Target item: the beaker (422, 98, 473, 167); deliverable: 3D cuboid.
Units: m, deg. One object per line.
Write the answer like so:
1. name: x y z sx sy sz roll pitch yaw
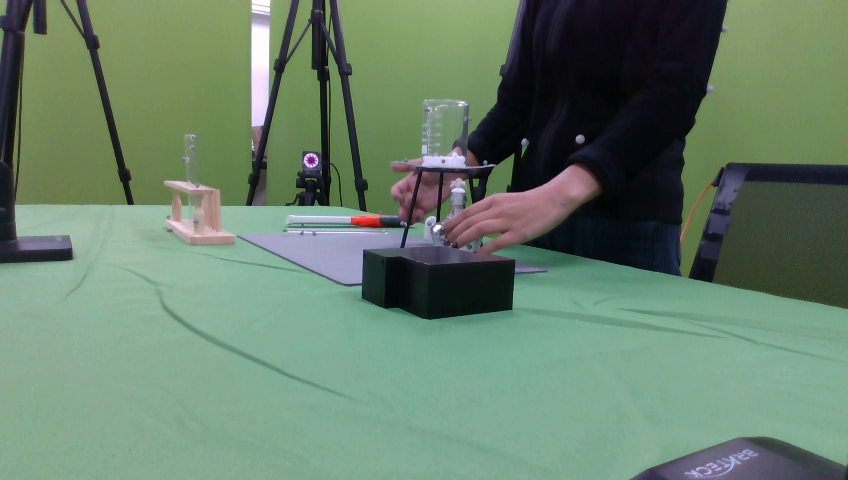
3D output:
1. beaker: 0.031 -0.162 0.919 0.074 0.100 0.083 -4 10 -36

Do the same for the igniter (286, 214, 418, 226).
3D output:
1. igniter: -0.146 -0.043 1.263 0.278 0.025 0.057 -1 -2 -24

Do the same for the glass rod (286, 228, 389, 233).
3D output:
1. glass rod: -0.154 -0.016 1.101 0.201 0.008 0.008 1 7 -31

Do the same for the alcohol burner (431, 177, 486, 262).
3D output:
1. alcohol burner: 0.049 -0.029 0.856 0.078 0.119 0.078 0 8 0

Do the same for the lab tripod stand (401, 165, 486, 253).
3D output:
1. lab tripod stand: 0.028 -0.049 0.930 0.148 0.131 0.148 2 9 0

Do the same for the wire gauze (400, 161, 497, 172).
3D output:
1. wire gauze: 0.027 -0.114 0.920 0.122 0.011 0.124 -5 13 -34

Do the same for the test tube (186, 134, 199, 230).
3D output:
1. test tube: -0.360 -0.089 0.946 0.017 0.150 0.017 0 10 0

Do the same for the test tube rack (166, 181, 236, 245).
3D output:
1. test tube rack: -0.383 -0.051 1.024 0.067 0.085 0.241 -2 9 -31

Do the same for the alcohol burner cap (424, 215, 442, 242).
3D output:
1. alcohol burner cap: 0.017 -0.022 1.098 0.034 0.048 0.034 2 8 0
